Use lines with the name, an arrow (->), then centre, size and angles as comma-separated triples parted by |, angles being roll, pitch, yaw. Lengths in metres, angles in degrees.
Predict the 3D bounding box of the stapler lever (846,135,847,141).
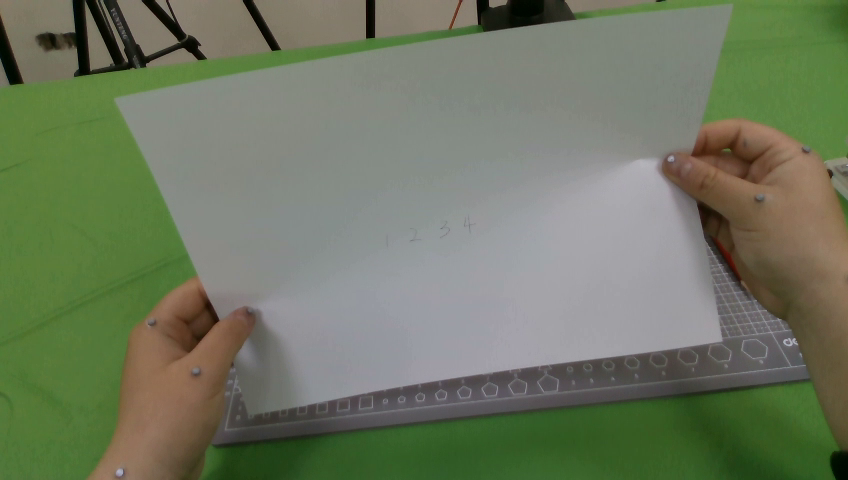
stapler lever -> 0.387, -0.055, 0.488 | 0.027, 0.040, 0.117 | -12, 45, 0

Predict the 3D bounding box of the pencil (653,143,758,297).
pencil -> 0.238, -0.024, 0.521 | 0.012, 0.012, 0.192 | -9, 46, -1

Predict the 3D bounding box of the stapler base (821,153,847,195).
stapler base -> 0.390, -0.038, 0.507 | 0.041, 0.025, 0.129 | -12, 45, 0
